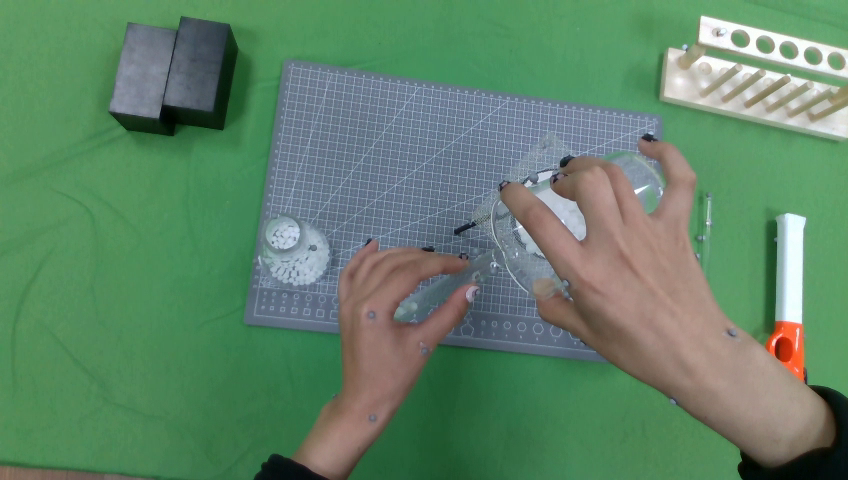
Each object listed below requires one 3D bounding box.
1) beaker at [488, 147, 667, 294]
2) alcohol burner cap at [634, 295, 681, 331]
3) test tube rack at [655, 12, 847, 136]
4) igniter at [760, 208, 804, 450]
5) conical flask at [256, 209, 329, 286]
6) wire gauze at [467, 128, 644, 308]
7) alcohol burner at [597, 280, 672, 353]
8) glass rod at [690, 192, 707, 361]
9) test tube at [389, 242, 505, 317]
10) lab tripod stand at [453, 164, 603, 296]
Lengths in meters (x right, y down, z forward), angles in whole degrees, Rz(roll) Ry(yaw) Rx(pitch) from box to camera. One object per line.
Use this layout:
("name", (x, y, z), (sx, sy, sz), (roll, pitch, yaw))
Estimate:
("beaker", (0.104, -0.016, 0.412), (0.100, 0.084, 0.074), (-23, 87, -19))
("alcohol burner cap", (0.232, 0.069, 0.594), (0.034, 0.048, 0.033), (3, 74, -10))
("test tube rack", (0.410, -0.192, 0.716), (0.243, 0.085, 0.066), (11, 79, -5))
("igniter", (0.412, 0.099, 0.695), (0.057, 0.025, 0.275), (11, 79, -16))
("conical flask", (-0.133, 0.002, 0.591), (0.075, 0.122, 0.075), (1, 80, -7))
("wire gauze", (0.120, -0.024, 0.554), (0.125, 0.011, 0.121), (43, 79, 2))
("alcohol burner", (0.227, 0.077, 0.629), (0.078, 0.119, 0.077), (1, 79, -4))
("glass rod", (0.319, 0.041, 0.704), (0.008, 0.008, 0.199), (8, 82, -6))
("test tube", (0.013, 0.036, 0.488), (0.017, 0.150, 0.017), (16, 59, -29))
("lab tripod stand", (0.111, -0.015, 0.620), (0.148, 0.131, 0.148), (1, 81, -5))
